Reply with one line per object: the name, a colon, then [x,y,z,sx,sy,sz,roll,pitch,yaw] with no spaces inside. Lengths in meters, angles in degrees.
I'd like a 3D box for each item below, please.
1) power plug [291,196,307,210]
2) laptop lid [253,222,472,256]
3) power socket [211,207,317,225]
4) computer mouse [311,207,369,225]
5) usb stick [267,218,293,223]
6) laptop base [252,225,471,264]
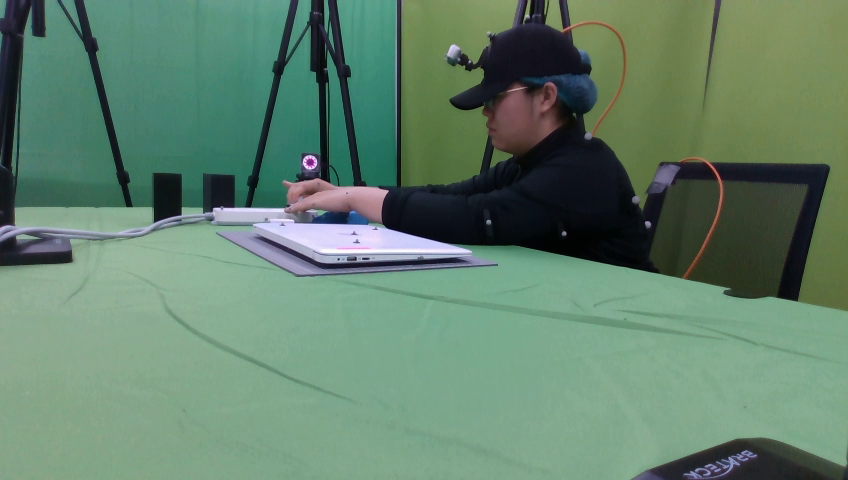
power plug: [-0.276,-0.072,1.341,0.035,0.052,0.072,-2,-4,-9]
laptop lid: [-0.113,-0.005,0.955,0.243,0.013,0.355,1,7,-29]
power socket: [-0.334,-0.051,1.282,0.228,0.032,0.072,-1,9,-27]
computer mouse: [-0.178,-0.046,1.274,0.118,0.041,0.062,-8,17,-26]
usb stick: [-0.271,-0.026,1.107,0.059,0.027,0.021,-3,11,-27]
laptop base: [-0.115,0.007,0.955,0.237,0.023,0.352,2,6,-31]
